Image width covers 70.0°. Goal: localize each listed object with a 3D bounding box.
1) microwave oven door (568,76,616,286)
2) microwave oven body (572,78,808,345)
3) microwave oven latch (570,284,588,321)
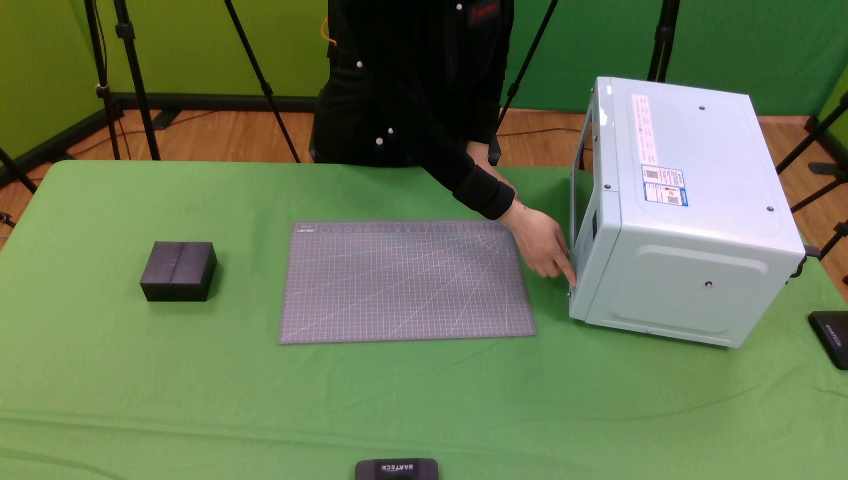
[{"bbox_3d":[0.319,-0.119,1.161,0.039,0.245,0.354,9,46,5],"label":"microwave oven door"},{"bbox_3d":[0.456,-0.063,1.124,0.326,0.261,0.439,8,45,5],"label":"microwave oven body"},{"bbox_3d":[0.276,0.106,1.082,0.030,0.029,0.079,10,46,7],"label":"microwave oven latch"}]
